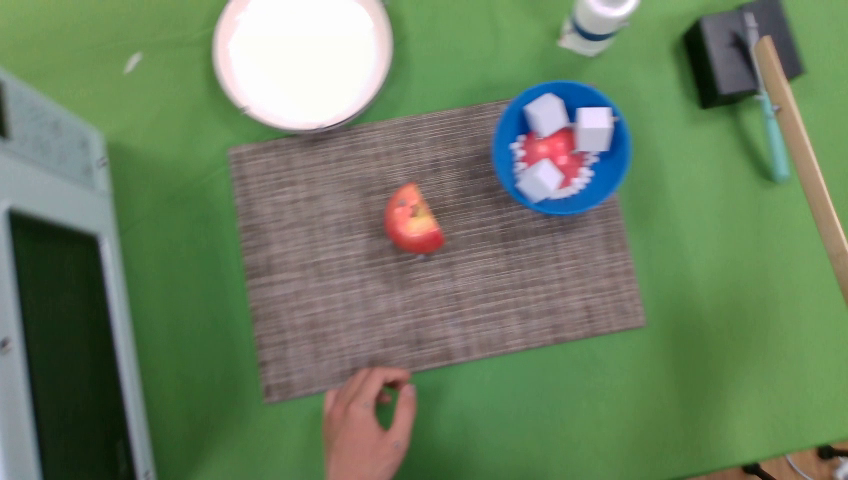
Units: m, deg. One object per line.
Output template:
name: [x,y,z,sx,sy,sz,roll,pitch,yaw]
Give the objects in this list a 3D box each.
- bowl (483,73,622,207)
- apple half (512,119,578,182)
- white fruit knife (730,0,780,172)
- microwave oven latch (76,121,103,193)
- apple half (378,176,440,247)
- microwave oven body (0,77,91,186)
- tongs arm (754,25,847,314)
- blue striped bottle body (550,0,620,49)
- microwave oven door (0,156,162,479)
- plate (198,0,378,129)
bowl: [0.139,-0.105,0.692,0.151,0.077,0.151,0,84,-1]
apple half: [0.141,-0.105,0.688,0.081,0.033,0.081,0,82,1]
white fruit knife: [0.384,-0.177,0.707,0.016,0.027,0.208,-18,101,14]
microwave oven latch: [-0.386,-0.091,0.680,0.030,0.029,0.079,-13,85,-4]
apple half: [-0.023,-0.025,0.682,0.053,0.074,0.081,-32,89,1]
microwave oven body: [-0.487,0.102,0.559,0.326,0.260,0.440,-13,85,-4]
tongs arm: [0.377,-0.021,0.556,0.028,0.028,0.386,-13,80,-8]
blue striped bottle body: [0.188,-0.274,0.694,0.063,0.121,0.063,0,83,-1]
microwave oven door: [-0.335,0.109,0.559,0.039,0.244,0.355,-14,84,-3]
plate: [-0.158,-0.229,0.721,0.208,0.039,0.207,0,84,-2]
